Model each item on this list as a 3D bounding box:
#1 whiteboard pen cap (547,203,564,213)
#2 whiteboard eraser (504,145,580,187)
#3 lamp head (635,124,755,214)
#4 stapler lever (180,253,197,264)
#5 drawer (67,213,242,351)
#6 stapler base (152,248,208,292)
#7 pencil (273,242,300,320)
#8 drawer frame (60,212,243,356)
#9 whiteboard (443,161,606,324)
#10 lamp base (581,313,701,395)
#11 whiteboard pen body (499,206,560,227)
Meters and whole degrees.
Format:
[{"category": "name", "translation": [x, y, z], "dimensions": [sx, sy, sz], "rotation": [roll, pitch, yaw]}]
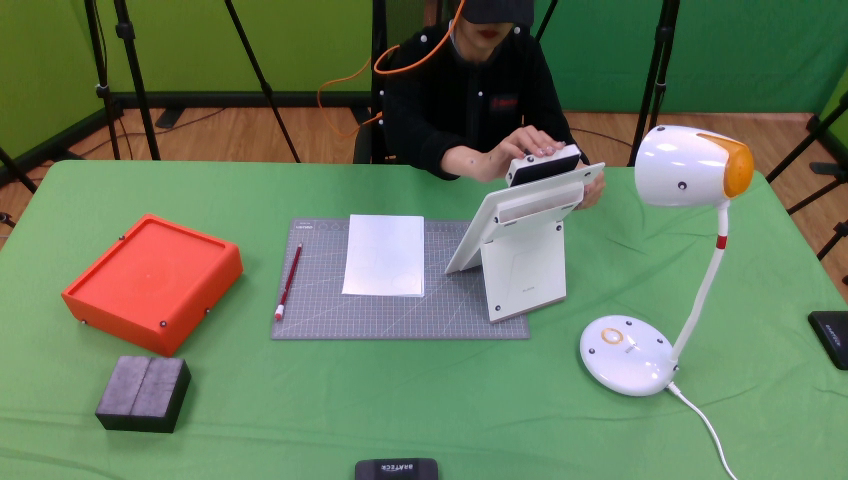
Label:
[{"category": "whiteboard pen cap", "translation": [0.277, -0.066, 1.275], "dimensions": [0.033, 0.018, 0.018], "rotation": [-18, 50, -15]}, {"category": "whiteboard eraser", "translation": [0.184, -0.110, 0.940], "dimensions": [0.113, 0.056, 0.041], "rotation": [-15, 62, -16]}, {"category": "lamp head", "translation": [0.351, -0.089, 0.775], "dimensions": [0.112, 0.113, 0.122], "rotation": [-30, 30, -28]}, {"category": "stapler lever", "translation": [-0.441, 0.026, 1.086], "dimensions": [0.117, 0.040, 0.027], "rotation": [30, 36, 30]}, {"category": "drawer", "translation": [-0.461, 0.068, 1.057], "dimensions": [0.194, 0.073, 0.211], "rotation": [19, 48, 13]}, {"category": "stapler base", "translation": [-0.443, 0.049, 1.101], "dimensions": [0.130, 0.024, 0.041], "rotation": [32, 37, 29]}, {"category": "pencil", "translation": [-0.249, 0.070, 1.115], "dimensions": [0.012, 0.012, 0.193], "rotation": [5, 44, 1]}, {"category": "drawer frame", "translation": [-0.462, 0.070, 1.053], "dimensions": [0.201, 0.083, 0.213], "rotation": [18, 48, 12]}, {"category": "whiteboard", "translation": [0.185, 0.025, 1.028], "dimensions": [0.217, 0.306, 0.143], "rotation": [-15, 68, -18]}, {"category": "lamp base", "translation": [0.361, 0.144, 0.973], "dimensions": [0.178, 0.181, 0.160], "rotation": [34, 53, 23]}, {"category": "whiteboard pen body", "translation": [0.221, -0.051, 1.260], "dimensions": [0.141, 0.017, 0.017], "rotation": [-16, 49, -16]}]
